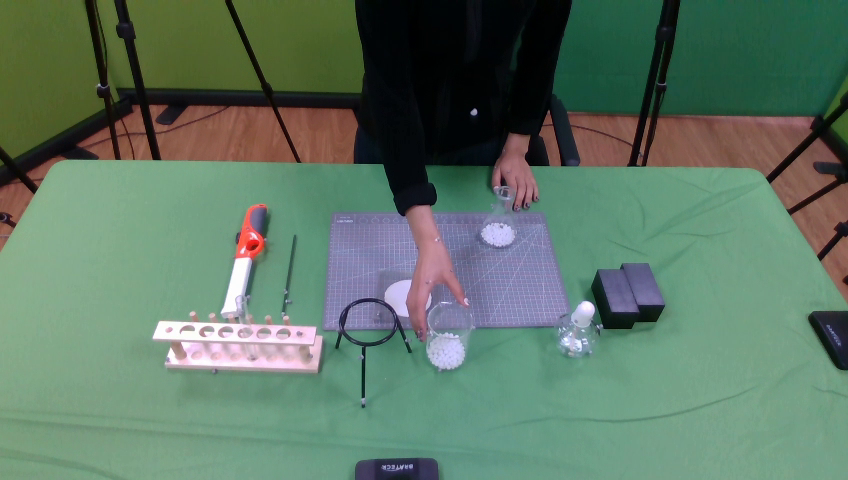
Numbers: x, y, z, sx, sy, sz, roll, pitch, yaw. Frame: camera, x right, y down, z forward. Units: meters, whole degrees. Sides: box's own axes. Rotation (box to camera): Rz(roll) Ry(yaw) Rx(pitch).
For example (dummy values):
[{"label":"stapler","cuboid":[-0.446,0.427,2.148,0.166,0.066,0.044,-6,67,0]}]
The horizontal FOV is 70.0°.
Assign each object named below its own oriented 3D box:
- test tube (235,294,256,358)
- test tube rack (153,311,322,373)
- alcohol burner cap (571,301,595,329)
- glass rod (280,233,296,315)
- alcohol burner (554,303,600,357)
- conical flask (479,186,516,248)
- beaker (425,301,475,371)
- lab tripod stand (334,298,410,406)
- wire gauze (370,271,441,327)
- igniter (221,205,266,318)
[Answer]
[{"label":"test tube","cuboid":[-0.274,0.136,0.933,0.017,0.151,0.017,4,45,-4]},{"label":"test tube rack","cuboid":[-0.293,0.160,0.977,0.242,0.085,0.066,3,46,-2]},{"label":"alcohol burner cap","cuboid":[0.262,0.120,0.991,0.034,0.048,0.033,1,52,-2]},{"label":"glass rod","cuboid":[-0.253,0.059,1.131,0.008,0.008,0.198,0,47,-3]},{"label":"alcohol burner","cuboid":[0.260,0.143,1.018,0.078,0.119,0.077,3,45,-3]},{"label":"conical flask","cuboid":[0.151,-0.049,1.186,0.075,0.122,0.075,2,46,-2]},{"label":"beaker","cuboid":[0.038,0.159,0.996,0.074,0.101,0.083,-14,48,-17]},{"label":"lab tripod stand","cuboid":[-0.086,0.164,0.957,0.148,0.132,0.147,3,44,-2]},{"label":"wire gauze","cuboid":[-0.032,0.103,1.104,0.125,0.011,0.121,4,46,3]},{"label":"igniter","cuboid":[-0.338,0.030,1.140,0.057,0.025,0.274,-5,46,4]}]
